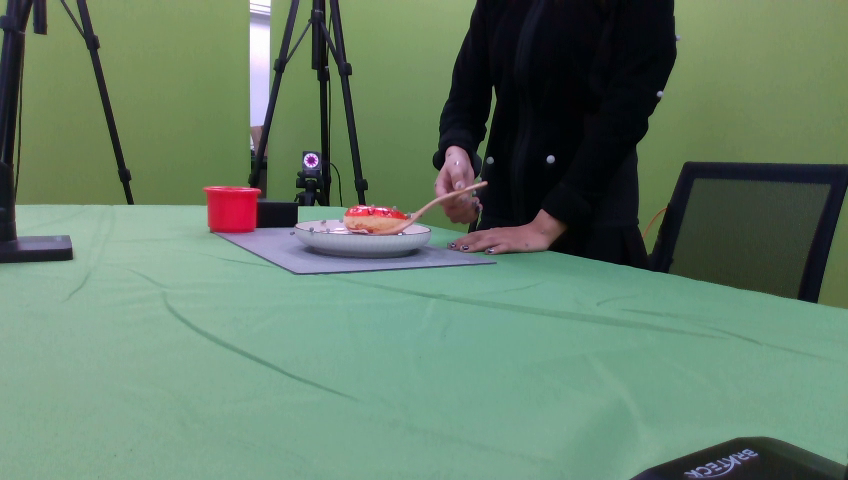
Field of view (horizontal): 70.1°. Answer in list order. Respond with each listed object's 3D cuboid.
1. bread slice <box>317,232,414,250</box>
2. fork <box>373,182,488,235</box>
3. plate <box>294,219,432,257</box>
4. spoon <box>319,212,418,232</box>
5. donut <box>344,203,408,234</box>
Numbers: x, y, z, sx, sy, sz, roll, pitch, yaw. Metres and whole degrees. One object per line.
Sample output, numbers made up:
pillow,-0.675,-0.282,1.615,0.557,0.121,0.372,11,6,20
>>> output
bread slice,-0.093,0.000,0.915,0.132,0.019,0.104,0,6,-26
fork,0.014,-0.046,0.899,0.208,0.018,0.028,-29,15,-24
plate,-0.092,-0.003,0.924,0.209,0.038,0.209,2,7,0
spoon,-0.083,-0.027,1.005,0.194,0.021,0.041,-16,21,-30
donut,-0.074,-0.031,0.931,0.099,0.048,0.099,5,3,0
